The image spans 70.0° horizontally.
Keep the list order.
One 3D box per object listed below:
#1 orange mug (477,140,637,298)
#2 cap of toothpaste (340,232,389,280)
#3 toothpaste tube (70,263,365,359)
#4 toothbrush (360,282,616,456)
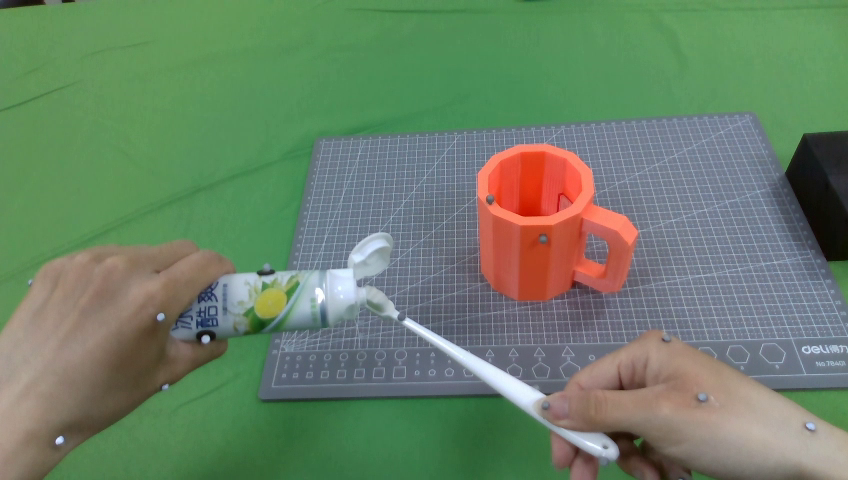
[{"bbox_3d":[0.100,-0.010,0.472,0.125,0.102,0.083,22,57,28],"label":"orange mug"},{"bbox_3d":[-0.035,0.011,0.382,0.037,0.038,0.011,-35,57,-20],"label":"cap of toothpaste"},{"bbox_3d":[-0.117,0.034,0.353,0.165,0.035,0.054,-4,70,-9],"label":"toothpaste tube"},{"bbox_3d":[0.027,0.068,0.349,0.180,0.017,0.014,28,56,31],"label":"toothbrush"}]
